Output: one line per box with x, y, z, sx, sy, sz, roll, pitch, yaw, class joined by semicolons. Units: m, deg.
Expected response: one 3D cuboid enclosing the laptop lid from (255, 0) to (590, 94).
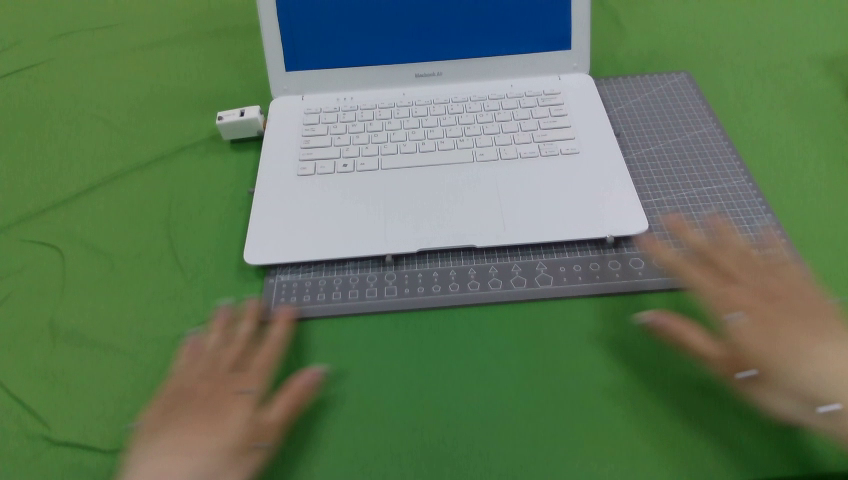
-0.003;-0.278;0.630;0.357;0.243;0.013;-6;20;0;laptop lid

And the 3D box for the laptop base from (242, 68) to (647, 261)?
0.012;-0.081;0.595;0.354;0.023;0.233;-5;52;0;laptop base

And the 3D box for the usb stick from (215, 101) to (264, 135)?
-0.185;-0.128;0.634;0.059;0.027;0.021;-7;49;-1;usb stick
